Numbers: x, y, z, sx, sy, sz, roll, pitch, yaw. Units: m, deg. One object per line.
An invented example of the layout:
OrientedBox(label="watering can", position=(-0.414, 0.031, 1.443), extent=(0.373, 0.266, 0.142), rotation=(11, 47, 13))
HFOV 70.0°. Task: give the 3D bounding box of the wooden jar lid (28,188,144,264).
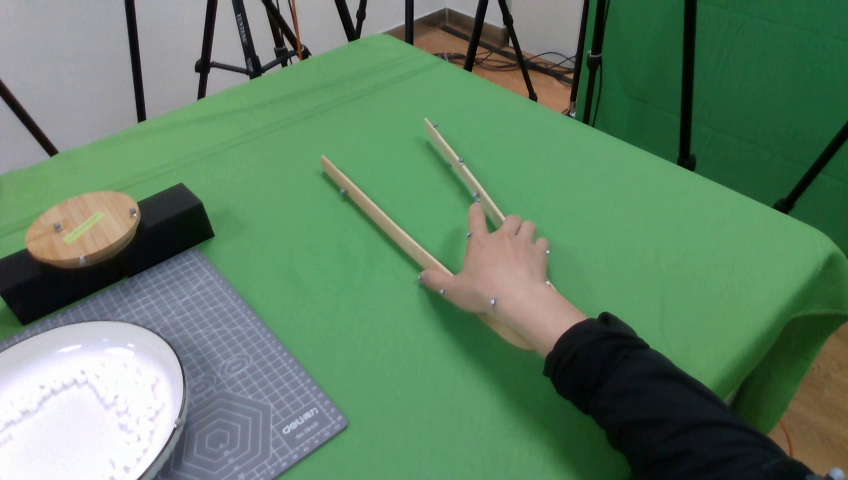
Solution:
OrientedBox(label="wooden jar lid", position=(-0.341, -0.014, 0.618), extent=(0.108, 0.021, 0.107), rotation=(0, 43, 1))

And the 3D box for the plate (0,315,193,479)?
OrientedBox(label="plate", position=(-0.292, 0.150, 0.492), extent=(0.209, 0.038, 0.207), rotation=(-1, 42, 2))

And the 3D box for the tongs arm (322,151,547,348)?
OrientedBox(label="tongs arm", position=(-0.013, -0.006, 0.661), extent=(0.028, 0.028, 0.383), rotation=(-26, 47, -27))

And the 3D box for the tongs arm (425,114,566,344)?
OrientedBox(label="tongs arm", position=(0.059, -0.036, 0.685), extent=(0.051, 0.027, 0.380), rotation=(-18, 45, -15))
